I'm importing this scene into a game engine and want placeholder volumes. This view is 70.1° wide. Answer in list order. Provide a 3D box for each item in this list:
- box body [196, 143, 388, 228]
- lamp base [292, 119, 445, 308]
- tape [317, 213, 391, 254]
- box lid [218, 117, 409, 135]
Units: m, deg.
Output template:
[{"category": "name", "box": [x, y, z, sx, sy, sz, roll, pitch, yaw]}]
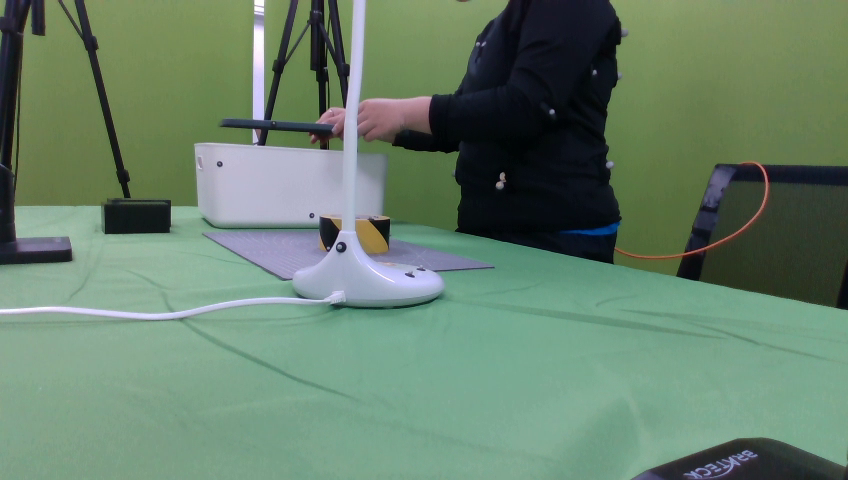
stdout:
[{"category": "box body", "box": [-0.286, -0.118, 1.291, 0.366, 0.160, 0.253, -1, 8, -27]}, {"category": "lamp base", "box": [-0.056, -0.030, 0.616, 0.160, 0.180, 0.179, 4, 10, 8]}, {"category": "tape", "box": [-0.109, -0.012, 0.938, 0.117, 0.052, 0.117, 2, 7, 0]}, {"category": "box lid", "box": [-0.241, -0.237, 1.282, 0.373, 0.015, 0.262, -1, 8, -22]}]
